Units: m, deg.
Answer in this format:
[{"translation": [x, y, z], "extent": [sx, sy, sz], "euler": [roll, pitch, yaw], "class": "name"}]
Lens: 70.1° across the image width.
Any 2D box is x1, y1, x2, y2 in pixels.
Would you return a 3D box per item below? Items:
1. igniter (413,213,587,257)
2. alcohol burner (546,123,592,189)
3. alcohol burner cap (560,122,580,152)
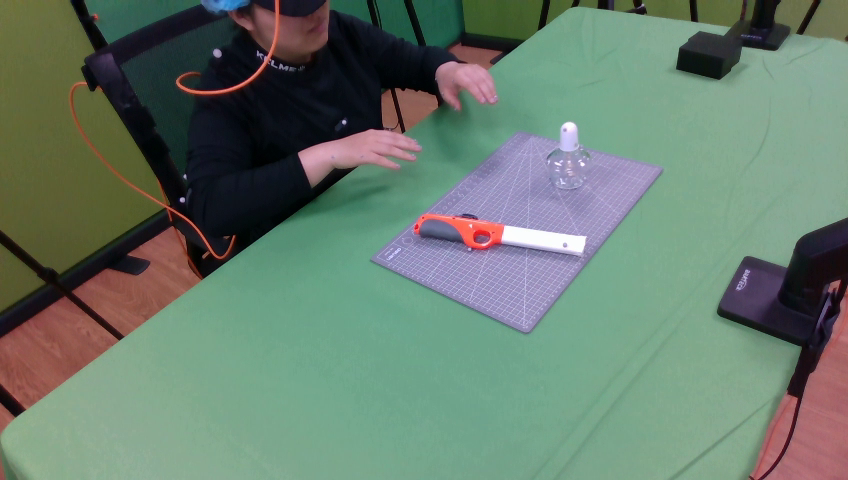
[{"translation": [0.116, -0.009, 0.959], "extent": [0.275, 0.025, 0.057], "euler": [8, 65, 17], "class": "igniter"}, {"translation": [0.248, -0.147, 1.034], "extent": [0.078, 0.120, 0.077], "euler": [-7, 41, 6], "class": "alcohol burner"}, {"translation": [0.244, -0.174, 1.010], "extent": [0.034, 0.048, 0.033], "euler": [-8, 40, 7], "class": "alcohol burner cap"}]
